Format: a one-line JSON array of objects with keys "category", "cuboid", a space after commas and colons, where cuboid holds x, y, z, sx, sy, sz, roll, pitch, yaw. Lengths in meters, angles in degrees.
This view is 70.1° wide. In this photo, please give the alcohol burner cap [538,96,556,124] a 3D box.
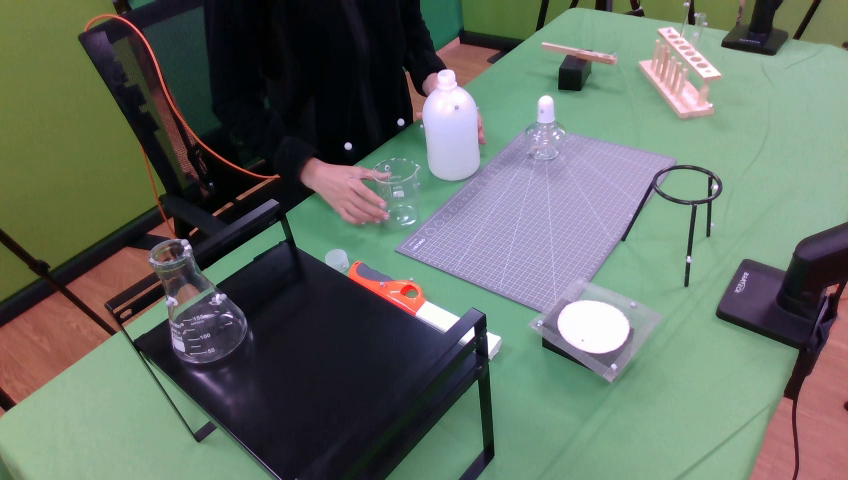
[{"category": "alcohol burner cap", "cuboid": [0.222, -0.237, 1.095, 0.034, 0.048, 0.033, -7, 34, 5]}]

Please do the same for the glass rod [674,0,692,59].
[{"category": "glass rod", "cuboid": [0.537, -0.436, 1.257, 0.008, 0.200, 0.008, 0, 39, 1]}]

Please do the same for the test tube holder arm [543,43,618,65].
[{"category": "test tube holder arm", "cuboid": [0.344, -0.413, 1.340, 0.177, 0.015, 0.013, 25, 51, 31]}]

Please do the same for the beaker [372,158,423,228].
[{"category": "beaker", "cuboid": [-0.039, -0.079, 1.022, 0.084, 0.101, 0.073, -16, 41, -11]}]

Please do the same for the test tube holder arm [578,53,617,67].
[{"category": "test tube holder arm", "cuboid": [0.376, -0.393, 1.314, 0.087, 0.015, 0.010, 26, 51, 32]}]

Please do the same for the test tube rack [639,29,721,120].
[{"category": "test tube rack", "cuboid": [0.527, -0.351, 1.262, 0.067, 0.085, 0.241, -8, 40, 1]}]

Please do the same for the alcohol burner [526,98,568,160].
[{"category": "alcohol burner", "cuboid": [0.228, -0.210, 1.118, 0.078, 0.119, 0.077, -5, 43, 5]}]

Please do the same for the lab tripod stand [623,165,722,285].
[{"category": "lab tripod stand", "cuboid": [0.365, -0.030, 0.874, 0.148, 0.132, 0.147, -6, 41, 6]}]

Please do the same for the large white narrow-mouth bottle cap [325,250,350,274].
[{"category": "large white narrow-mouth bottle cap", "cuboid": [-0.138, 0.035, 0.966, 0.038, 0.024, 0.037, -4, 41, 4]}]

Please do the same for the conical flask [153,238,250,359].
[{"category": "conical flask", "cuboid": [-0.225, 0.055, 0.597, 0.075, 0.122, 0.075, -5, 41, 4]}]

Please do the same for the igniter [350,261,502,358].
[{"category": "igniter", "cuboid": [-0.009, 0.094, 0.870, 0.274, 0.025, 0.057, 25, 60, 33]}]

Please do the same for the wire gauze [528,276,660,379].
[{"category": "wire gauze", "cuboid": [0.214, 0.103, 0.763, 0.124, 0.011, 0.122, 30, 52, 35]}]

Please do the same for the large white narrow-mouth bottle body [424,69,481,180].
[{"category": "large white narrow-mouth bottle body", "cuboid": [0.050, -0.211, 1.090, 0.102, 0.195, 0.101, -4, 41, 4]}]

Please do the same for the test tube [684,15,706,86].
[{"category": "test tube", "cuboid": [0.541, -0.378, 1.215, 0.017, 0.151, 0.017, -2, 44, 3]}]
